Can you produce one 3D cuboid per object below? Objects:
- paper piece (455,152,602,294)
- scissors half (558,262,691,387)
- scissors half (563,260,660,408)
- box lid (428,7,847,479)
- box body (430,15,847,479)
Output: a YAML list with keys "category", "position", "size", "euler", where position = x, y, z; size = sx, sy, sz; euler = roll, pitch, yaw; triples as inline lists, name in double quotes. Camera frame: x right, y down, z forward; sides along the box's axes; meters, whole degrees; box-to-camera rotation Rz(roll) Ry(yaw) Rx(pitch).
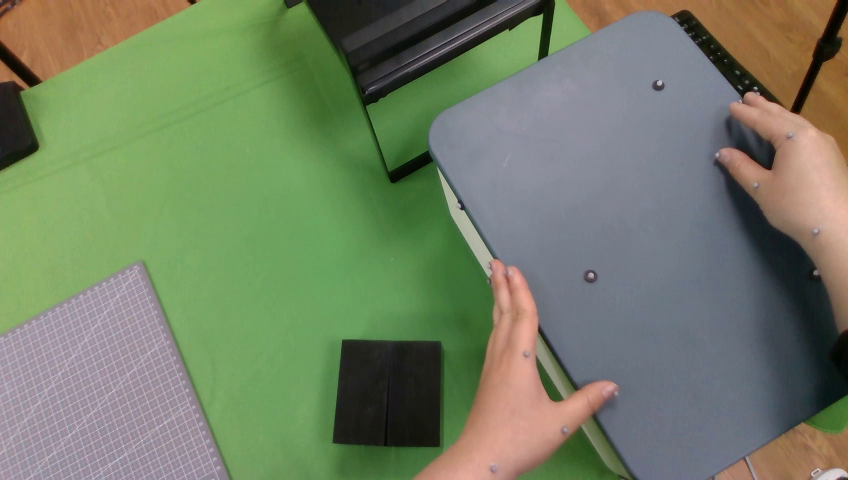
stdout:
- category: "paper piece"
  position: [0.120, -0.022, 0.689]
  size: [0.136, 0.008, 0.138]
  euler: [-18, 83, -8]
- category: "scissors half"
  position: [0.205, 0.082, 0.630]
  size: [0.040, 0.013, 0.174]
  euler: [-40, 67, -15]
- category: "scissors half"
  position: [0.187, 0.093, 0.628]
  size: [0.040, 0.013, 0.173]
  euler: [-22, 64, -1]
- category: "box lid"
  position: [0.192, -0.020, 0.506]
  size: [0.263, 0.015, 0.368]
  euler: [-29, 71, -5]
- category: "box body"
  position: [0.201, 0.009, 0.580]
  size: [0.254, 0.161, 0.361]
  euler: [-29, 71, -4]
